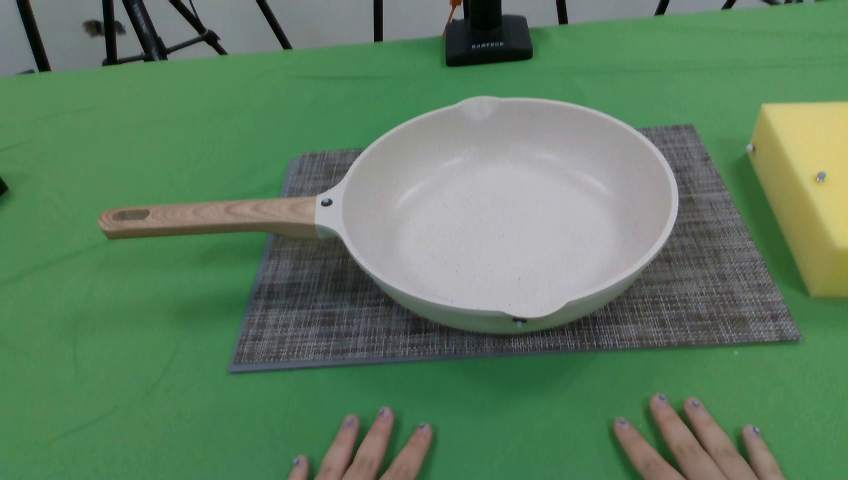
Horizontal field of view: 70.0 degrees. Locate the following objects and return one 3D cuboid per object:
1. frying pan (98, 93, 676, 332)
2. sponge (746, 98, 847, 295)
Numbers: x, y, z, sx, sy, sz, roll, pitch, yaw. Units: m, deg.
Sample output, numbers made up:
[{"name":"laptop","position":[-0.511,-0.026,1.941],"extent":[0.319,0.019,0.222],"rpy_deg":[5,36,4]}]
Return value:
[{"name":"frying pan","position":[-0.035,-0.028,0.542],"extent":[0.488,0.103,0.303],"rpy_deg":[-1,42,-4]},{"name":"sponge","position":[0.379,-0.046,0.534],"extent":[0.118,0.061,0.205],"rpy_deg":[0,43,8]}]
